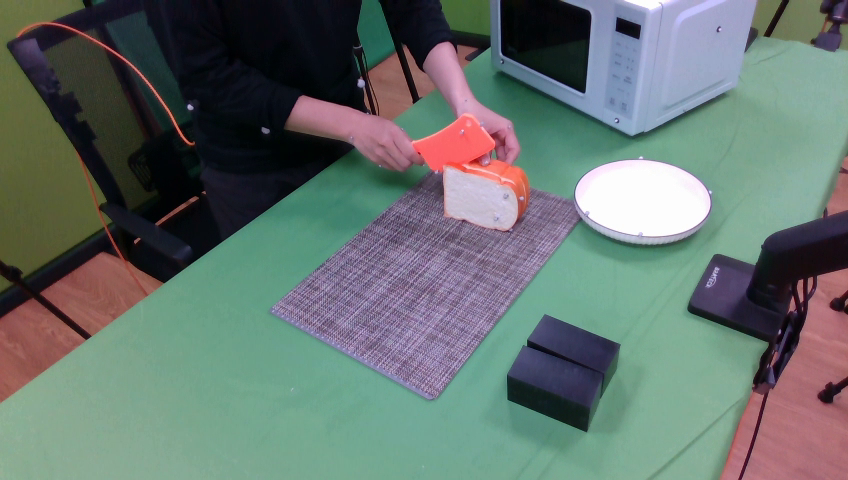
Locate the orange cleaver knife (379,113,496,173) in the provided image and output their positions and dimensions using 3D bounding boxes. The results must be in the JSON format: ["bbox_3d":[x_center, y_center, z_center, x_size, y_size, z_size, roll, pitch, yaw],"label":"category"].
[{"bbox_3d":[0.017,-0.143,0.965,0.210,0.077,0.012,-13,28,38],"label":"orange cleaver knife"}]

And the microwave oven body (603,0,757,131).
[{"bbox_3d":[0.396,-0.448,1.248,0.327,0.261,0.437,-27,44,-21],"label":"microwave oven body"}]

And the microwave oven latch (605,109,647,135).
[{"bbox_3d":[0.378,-0.225,1.139,0.030,0.029,0.078,-26,43,-19],"label":"microwave oven latch"}]

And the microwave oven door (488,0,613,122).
[{"bbox_3d":[0.250,-0.412,1.219,0.039,0.245,0.352,-27,44,-21],"label":"microwave oven door"}]

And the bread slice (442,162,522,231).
[{"bbox_3d":[0.091,-0.068,0.966,0.133,0.107,0.018,15,45,25],"label":"bread slice"}]

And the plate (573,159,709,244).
[{"bbox_3d":[0.347,-0.059,0.979,0.207,0.039,0.206,-4,41,4],"label":"plate"}]
